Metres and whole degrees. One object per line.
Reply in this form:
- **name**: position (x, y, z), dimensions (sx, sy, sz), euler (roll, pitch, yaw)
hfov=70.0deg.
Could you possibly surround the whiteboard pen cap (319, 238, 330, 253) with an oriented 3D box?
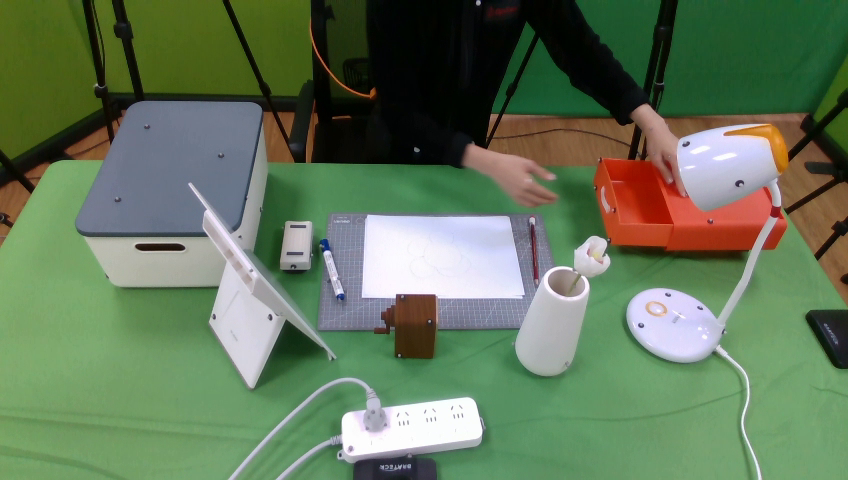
- **whiteboard pen cap**: position (-0.191, 0.013, 1.163), dimensions (0.018, 0.018, 0.033), euler (-13, 49, -16)

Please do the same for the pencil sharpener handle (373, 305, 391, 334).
- **pencil sharpener handle**: position (-0.069, 0.133, 0.989), dimensions (0.030, 0.068, 0.036), euler (1, 47, -2)

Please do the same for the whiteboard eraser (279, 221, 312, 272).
- **whiteboard eraser**: position (-0.244, 0.012, 1.154), dimensions (0.055, 0.042, 0.112), euler (-2, 46, -4)

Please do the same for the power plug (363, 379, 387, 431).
- **power plug**: position (-0.072, 0.252, 0.910), dimensions (0.035, 0.053, 0.072), euler (3, 45, -1)

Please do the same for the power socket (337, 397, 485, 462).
- **power socket**: position (-0.018, 0.285, 0.915), dimensions (0.227, 0.033, 0.071), euler (-5, 46, -8)

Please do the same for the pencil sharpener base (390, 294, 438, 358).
- **pencil sharpener base**: position (-0.018, 0.143, 1.000), dimensions (0.077, 0.107, 0.061), euler (1, 46, -2)

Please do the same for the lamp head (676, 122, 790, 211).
- **lamp head**: position (0.423, -0.104, 0.819), dimensions (0.122, 0.113, 0.112), euler (-13, 33, 40)

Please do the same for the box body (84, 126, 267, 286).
- **box body**: position (-0.446, -0.088, 1.150), dimensions (0.254, 0.161, 0.361), euler (-1, 46, -5)

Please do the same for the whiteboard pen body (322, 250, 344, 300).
- **whiteboard pen body**: position (-0.173, 0.056, 1.127), dimensions (0.017, 0.017, 0.140), euler (-12, 49, -16)

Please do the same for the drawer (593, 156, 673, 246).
- **drawer**: position (0.460, -0.077, 1.207), dimensions (0.212, 0.073, 0.193), euler (3, 46, -3)

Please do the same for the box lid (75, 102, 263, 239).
- **box lid**: position (-0.443, -0.138, 1.094), dimensions (0.263, 0.015, 0.369), euler (-1, 47, -5)

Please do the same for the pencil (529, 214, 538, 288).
- **pencil**: position (0.219, 0.019, 1.202), dimensions (0.012, 0.012, 0.193), euler (5, 48, 1)

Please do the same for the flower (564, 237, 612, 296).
- **flower**: position (0.206, 0.088, 0.893), dimensions (0.038, 0.363, 0.044), euler (-17, 67, -9)

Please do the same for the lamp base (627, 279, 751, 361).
- **lamp base**: position (0.459, 0.100, 1.027), dimensions (0.178, 0.181, 0.160), euler (27, 51, 17)

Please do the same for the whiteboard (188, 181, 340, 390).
- **whiteboard**: position (-0.292, 0.096, 0.929), dimensions (0.144, 0.307, 0.216), euler (-38, 57, -10)

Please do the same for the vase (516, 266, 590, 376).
- **vase**: position (0.208, 0.132, 0.965), dimensions (0.098, 0.201, 0.097), euler (3, 46, -3)

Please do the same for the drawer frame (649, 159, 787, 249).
- **drawer frame**: position (0.566, -0.075, 1.209), dimensions (0.213, 0.083, 0.200), euler (0, 45, 2)
